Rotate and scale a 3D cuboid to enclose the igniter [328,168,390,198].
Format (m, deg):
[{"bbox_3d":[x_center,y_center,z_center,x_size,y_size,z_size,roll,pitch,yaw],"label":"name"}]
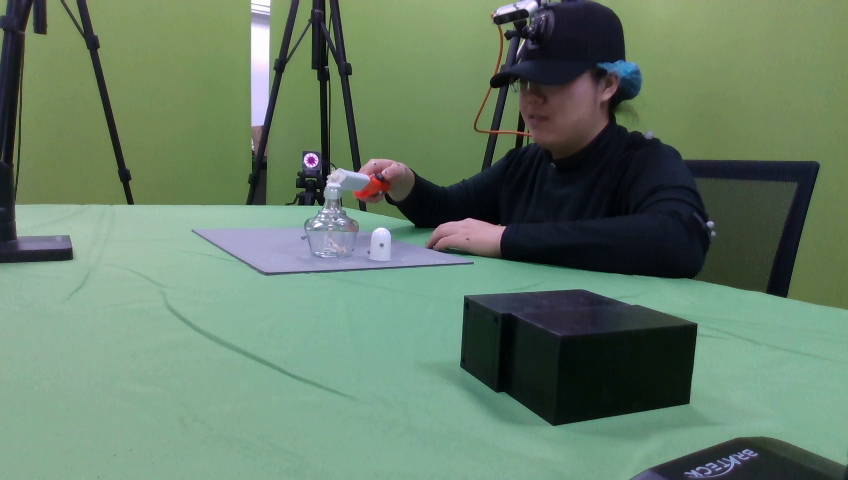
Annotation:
[{"bbox_3d":[-0.100,-0.093,0.997,0.025,0.057,0.277,48,8,5],"label":"igniter"}]

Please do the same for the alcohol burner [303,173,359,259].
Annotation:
[{"bbox_3d":[-0.130,-0.034,0.850,0.078,0.119,0.078,2,5,0],"label":"alcohol burner"}]

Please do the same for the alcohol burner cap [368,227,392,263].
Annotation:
[{"bbox_3d":[-0.060,0.006,0.836,0.034,0.048,0.034,2,7,0],"label":"alcohol burner cap"}]
